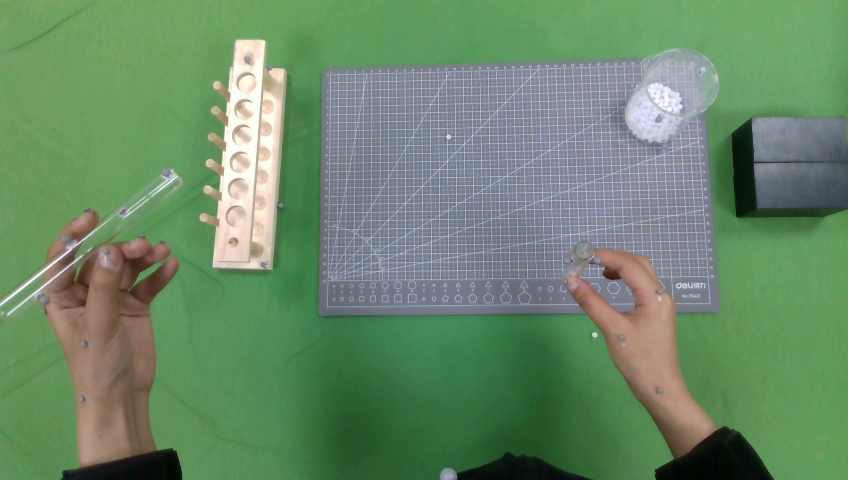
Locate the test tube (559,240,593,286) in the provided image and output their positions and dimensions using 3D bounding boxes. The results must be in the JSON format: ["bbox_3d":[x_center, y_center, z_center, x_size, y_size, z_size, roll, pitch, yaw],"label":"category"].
[{"bbox_3d":[0.132,0.023,0.535,0.017,0.151,0.017,-2,77,8],"label":"test tube"}]

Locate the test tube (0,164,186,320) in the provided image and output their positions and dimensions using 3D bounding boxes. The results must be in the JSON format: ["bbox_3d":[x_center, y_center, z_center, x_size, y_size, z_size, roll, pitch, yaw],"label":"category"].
[{"bbox_3d":[-0.226,-0.001,0.412,0.017,0.017,0.150,44,73,8],"label":"test tube"}]

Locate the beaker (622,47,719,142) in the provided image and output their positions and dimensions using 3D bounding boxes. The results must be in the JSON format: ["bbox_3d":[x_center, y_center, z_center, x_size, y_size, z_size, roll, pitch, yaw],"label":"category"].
[{"bbox_3d":[0.259,-0.154,0.660,0.083,0.100,0.074,37,85,9],"label":"beaker"}]

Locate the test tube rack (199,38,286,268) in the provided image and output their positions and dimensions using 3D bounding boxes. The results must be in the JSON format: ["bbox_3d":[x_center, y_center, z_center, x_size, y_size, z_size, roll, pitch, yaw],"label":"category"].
[{"bbox_3d":[-0.208,-0.094,0.682,0.067,0.085,0.241,2,82,3],"label":"test tube rack"}]
